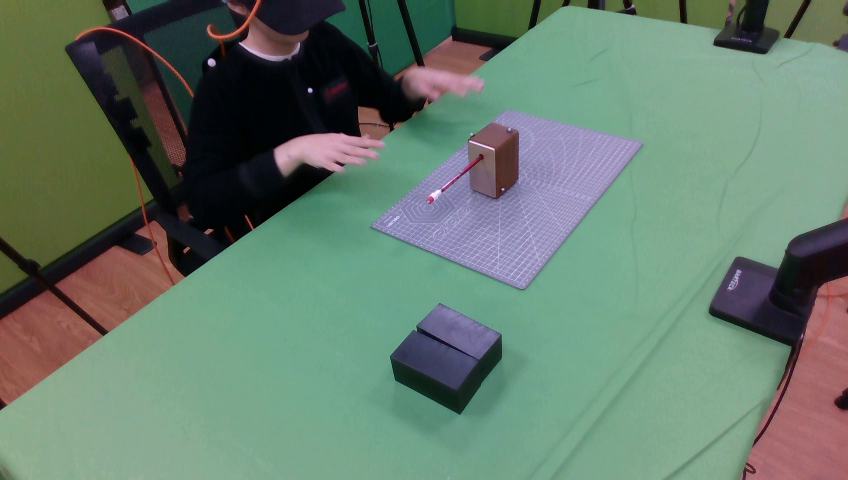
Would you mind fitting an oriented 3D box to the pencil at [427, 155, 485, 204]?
[{"bbox_3d":[0.070,-0.112,0.989,0.012,0.012,0.194,26,51,33],"label":"pencil"}]

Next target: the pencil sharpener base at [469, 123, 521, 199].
[{"bbox_3d":[0.126,-0.138,1.050,0.061,0.107,0.077,24,50,33],"label":"pencil sharpener base"}]

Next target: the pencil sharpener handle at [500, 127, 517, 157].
[{"bbox_3d":[0.153,-0.178,1.072,0.036,0.068,0.031,37,55,17],"label":"pencil sharpener handle"}]
